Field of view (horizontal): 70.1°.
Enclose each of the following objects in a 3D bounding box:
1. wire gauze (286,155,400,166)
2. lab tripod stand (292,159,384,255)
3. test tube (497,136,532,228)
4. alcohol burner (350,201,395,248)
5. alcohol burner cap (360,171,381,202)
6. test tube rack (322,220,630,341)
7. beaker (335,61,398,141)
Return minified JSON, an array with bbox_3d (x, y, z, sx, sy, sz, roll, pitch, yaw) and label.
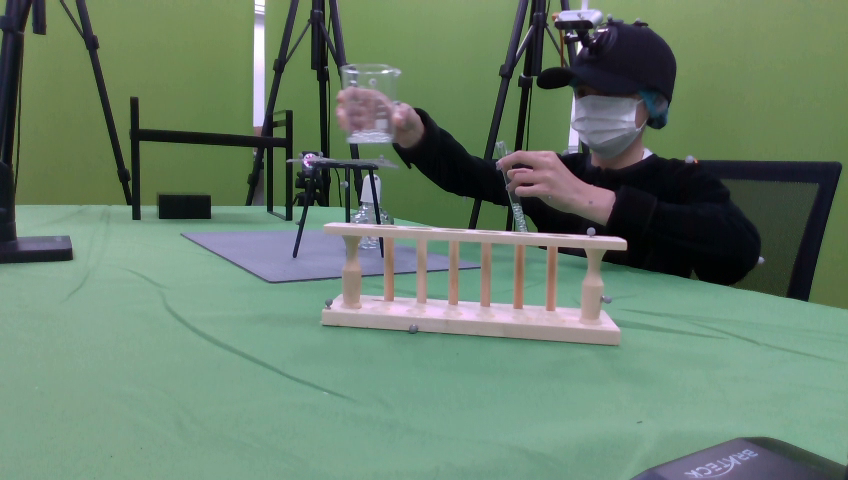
[{"bbox_3d":[-0.101,-0.105,0.788,0.121,0.011,0.125,4,6,6],"label":"wire gauze"},{"bbox_3d":[-0.105,-0.039,0.797,0.148,0.131,0.148,2,5,0],"label":"lab tripod stand"},{"bbox_3d":[0.135,-0.081,0.900,0.017,0.150,0.017,-16,5,2],"label":"test tube"},{"bbox_3d":[-0.084,-0.048,0.953,0.078,0.119,0.078,1,6,0],"label":"alcohol burner"},{"bbox_3d":[-0.081,-0.084,0.949,0.034,0.048,0.034,9,8,-1],"label":"alcohol burner cap"},{"bbox_3d":[0.041,0.029,0.512,0.242,0.085,0.067,3,7,5],"label":"test tube rack"},{"bbox_3d":[-0.074,-0.183,0.808,0.084,0.100,0.074,1,9,13],"label":"beaker"}]
